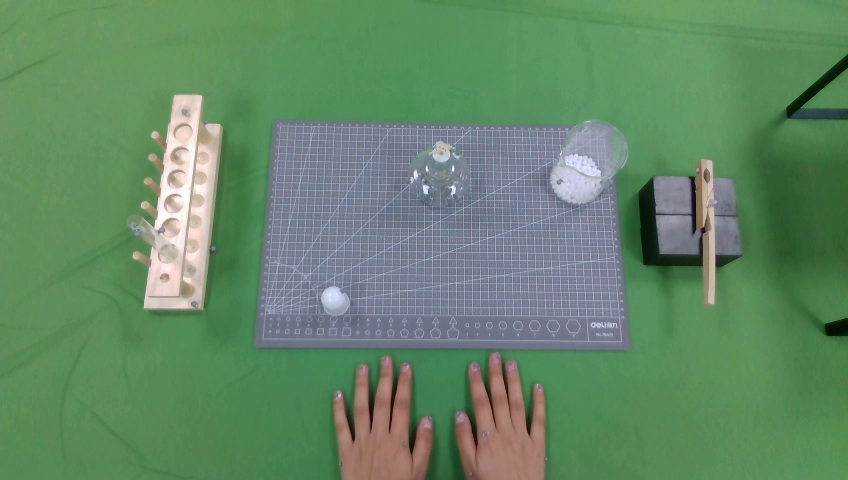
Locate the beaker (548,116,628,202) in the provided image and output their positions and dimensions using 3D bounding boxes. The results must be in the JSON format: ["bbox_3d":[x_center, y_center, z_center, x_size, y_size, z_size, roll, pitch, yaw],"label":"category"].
[{"bbox_3d":[0.193,-0.093,0.742,0.084,0.101,0.073,-21,75,-7],"label":"beaker"}]

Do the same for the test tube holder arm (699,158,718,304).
[{"bbox_3d":[0.337,-0.013,0.721,0.013,0.015,0.177,1,75,0],"label":"test tube holder arm"}]

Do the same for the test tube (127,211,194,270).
[{"bbox_3d":[-0.280,0.004,0.655,0.017,0.151,0.017,0,69,0],"label":"test tube"}]

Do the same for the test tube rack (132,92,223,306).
[{"bbox_3d":[-0.297,-0.048,0.721,0.067,0.085,0.241,1,74,-1],"label":"test tube rack"}]

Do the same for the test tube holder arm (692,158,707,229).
[{"bbox_3d":[0.333,-0.057,0.733,0.010,0.015,0.087,3,75,0],"label":"test tube holder arm"}]

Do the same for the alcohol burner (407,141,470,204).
[{"bbox_3d":[0.017,-0.088,0.727,0.078,0.119,0.077,0,74,0],"label":"alcohol burner"}]

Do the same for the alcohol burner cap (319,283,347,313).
[{"bbox_3d":[-0.109,0.066,0.715,0.034,0.048,0.033,1,73,-3],"label":"alcohol burner cap"}]
